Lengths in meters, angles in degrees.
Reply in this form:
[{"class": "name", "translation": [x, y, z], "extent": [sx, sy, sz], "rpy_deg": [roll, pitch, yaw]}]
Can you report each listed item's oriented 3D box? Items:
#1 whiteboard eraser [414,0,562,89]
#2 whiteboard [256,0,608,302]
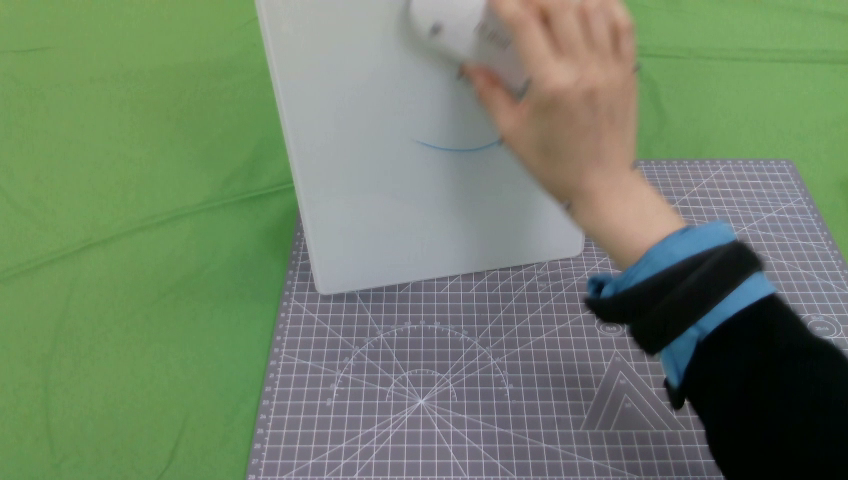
[{"class": "whiteboard eraser", "translation": [0.041, -0.129, 0.373], "extent": [0.102, 0.041, 0.018], "rpy_deg": [25, 25, -22]}, {"class": "whiteboard", "translation": [0.003, -0.133, 0.453], "extent": [0.217, 0.308, 0.142], "rpy_deg": [-8, 32, -5]}]
